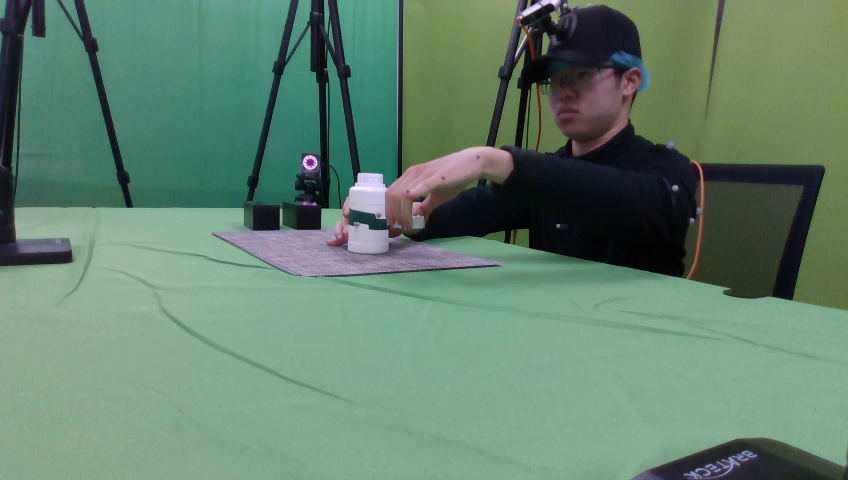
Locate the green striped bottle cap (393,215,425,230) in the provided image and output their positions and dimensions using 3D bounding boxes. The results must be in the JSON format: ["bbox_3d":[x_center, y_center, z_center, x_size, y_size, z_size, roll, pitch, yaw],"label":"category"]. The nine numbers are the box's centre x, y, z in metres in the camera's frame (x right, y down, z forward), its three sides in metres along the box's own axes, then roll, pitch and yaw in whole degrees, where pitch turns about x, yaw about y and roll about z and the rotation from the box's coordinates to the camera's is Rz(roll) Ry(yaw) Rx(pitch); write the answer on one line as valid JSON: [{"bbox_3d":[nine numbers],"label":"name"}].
[{"bbox_3d":[-0.021,-0.024,0.844,0.044,0.020,0.044,-2,0,0],"label":"green striped bottle cap"}]

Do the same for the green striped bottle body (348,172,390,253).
[{"bbox_3d":[-0.083,-0.043,0.912,0.063,0.119,0.063,1,8,0],"label":"green striped bottle body"}]
